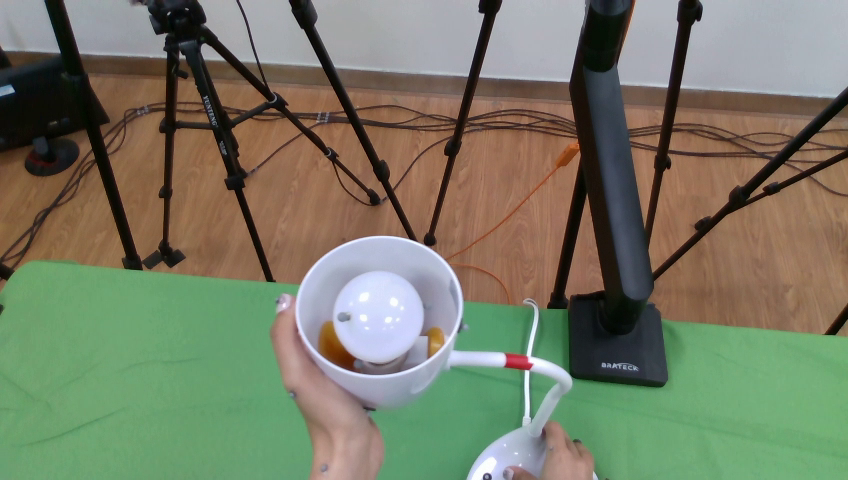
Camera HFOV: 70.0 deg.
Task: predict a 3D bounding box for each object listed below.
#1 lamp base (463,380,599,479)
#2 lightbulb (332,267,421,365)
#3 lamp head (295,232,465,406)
[{"bbox_3d":[0.119,0.233,0.625,0.161,0.182,0.177,-6,51,-4],"label":"lamp base"},{"bbox_3d":[-0.032,0.060,0.424,0.059,0.108,0.059,1,58,-2],"label":"lightbulb"},{"bbox_3d":[-0.026,0.071,0.447,0.112,0.124,0.111,-3,53,4],"label":"lamp head"}]
